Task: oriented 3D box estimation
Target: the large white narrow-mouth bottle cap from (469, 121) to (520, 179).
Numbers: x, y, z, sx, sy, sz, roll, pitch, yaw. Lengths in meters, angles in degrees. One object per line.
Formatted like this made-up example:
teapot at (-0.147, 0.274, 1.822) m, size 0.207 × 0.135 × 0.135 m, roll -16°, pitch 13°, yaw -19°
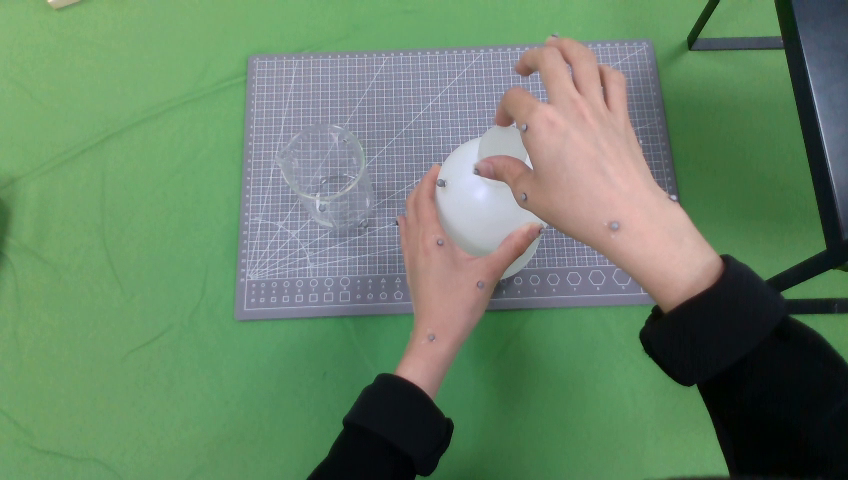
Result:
large white narrow-mouth bottle cap at (0.050, -0.063, 0.429) m, size 0.038 × 0.024 × 0.037 m, roll -1°, pitch 74°, yaw 3°

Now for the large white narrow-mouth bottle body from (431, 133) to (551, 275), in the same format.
large white narrow-mouth bottle body at (0.057, -0.036, 0.523) m, size 0.102 × 0.196 × 0.101 m, roll -1°, pitch 74°, yaw 3°

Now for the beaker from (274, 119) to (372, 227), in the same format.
beaker at (-0.091, -0.059, 0.580) m, size 0.084 × 0.101 × 0.073 m, roll 7°, pitch 73°, yaw 4°

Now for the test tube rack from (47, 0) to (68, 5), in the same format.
test tube rack at (-0.335, -0.359, 0.684) m, size 0.242 × 0.085 × 0.066 m, roll -23°, pitch 74°, yaw -6°
